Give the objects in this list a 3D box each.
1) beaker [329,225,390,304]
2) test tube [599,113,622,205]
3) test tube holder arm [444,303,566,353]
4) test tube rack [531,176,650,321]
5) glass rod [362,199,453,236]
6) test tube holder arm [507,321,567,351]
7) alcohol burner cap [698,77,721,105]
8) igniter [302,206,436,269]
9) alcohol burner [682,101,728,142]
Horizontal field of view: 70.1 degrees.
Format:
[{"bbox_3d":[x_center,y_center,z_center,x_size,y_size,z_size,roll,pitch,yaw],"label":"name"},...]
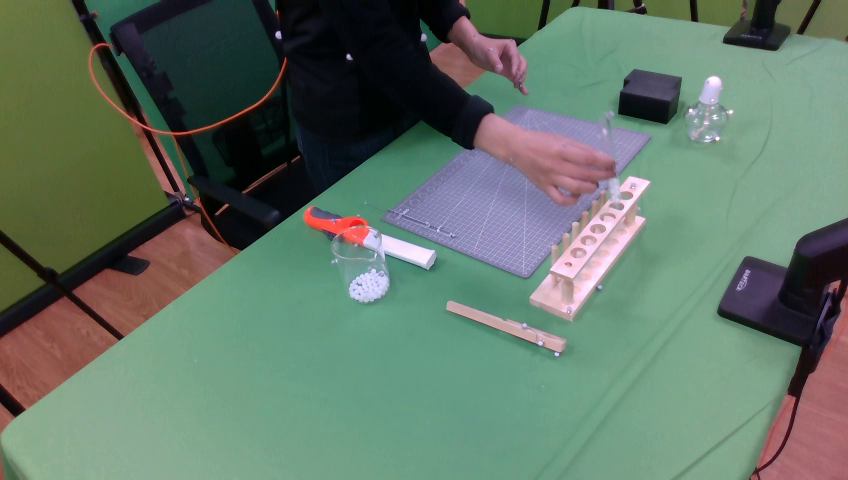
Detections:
[{"bbox_3d":[-0.089,0.040,0.890,0.074,0.101,0.083,-32,45,-24],"label":"beaker"},{"bbox_3d":[0.255,-0.106,0.824,0.017,0.151,0.017,-13,40,12],"label":"test tube"},{"bbox_3d":[0.107,0.117,0.824,0.177,0.015,0.013,16,10,27],"label":"test tube holder arm"},{"bbox_3d":[0.246,0.002,0.884,0.066,0.085,0.243,22,49,32],"label":"test tube rack"},{"bbox_3d":[-0.032,-0.041,1.041,0.198,0.008,0.008,22,50,31],"label":"glass rod"},{"bbox_3d":[0.148,0.128,0.808,0.087,0.015,0.010,16,10,28],"label":"test tube holder arm"},{"bbox_3d":[0.509,-0.266,1.072,0.034,0.048,0.033,-4,48,5],"label":"alcohol burner cap"},{"bbox_3d":[-0.101,-0.007,1.004,0.274,0.025,0.057,19,57,29],"label":"igniter"},{"bbox_3d":[0.513,-0.239,1.097,0.078,0.119,0.077,-4,41,4],"label":"alcohol burner"}]
